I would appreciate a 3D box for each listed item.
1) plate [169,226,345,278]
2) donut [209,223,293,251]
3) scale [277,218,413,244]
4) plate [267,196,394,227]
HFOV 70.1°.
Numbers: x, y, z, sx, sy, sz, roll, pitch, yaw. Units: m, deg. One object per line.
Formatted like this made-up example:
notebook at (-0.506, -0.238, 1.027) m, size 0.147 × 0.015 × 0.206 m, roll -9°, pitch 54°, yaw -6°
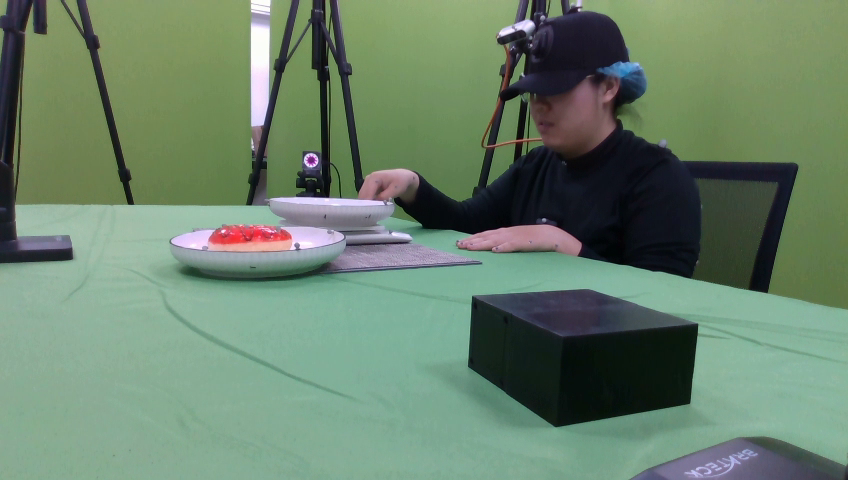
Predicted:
plate at (-0.202, 0.014, 0.748) m, size 0.209 × 0.038 × 0.209 m, roll 1°, pitch 9°, yaw 0°
donut at (-0.210, 0.004, 0.738) m, size 0.099 × 0.048 × 0.099 m, roll 0°, pitch 8°, yaw 0°
scale at (-0.134, -0.015, 1.015) m, size 0.202 × 0.031 × 0.148 m, roll -1°, pitch 9°, yaw -33°
plate at (-0.152, -0.047, 0.998) m, size 0.208 × 0.039 × 0.207 m, roll 2°, pitch 7°, yaw 0°
